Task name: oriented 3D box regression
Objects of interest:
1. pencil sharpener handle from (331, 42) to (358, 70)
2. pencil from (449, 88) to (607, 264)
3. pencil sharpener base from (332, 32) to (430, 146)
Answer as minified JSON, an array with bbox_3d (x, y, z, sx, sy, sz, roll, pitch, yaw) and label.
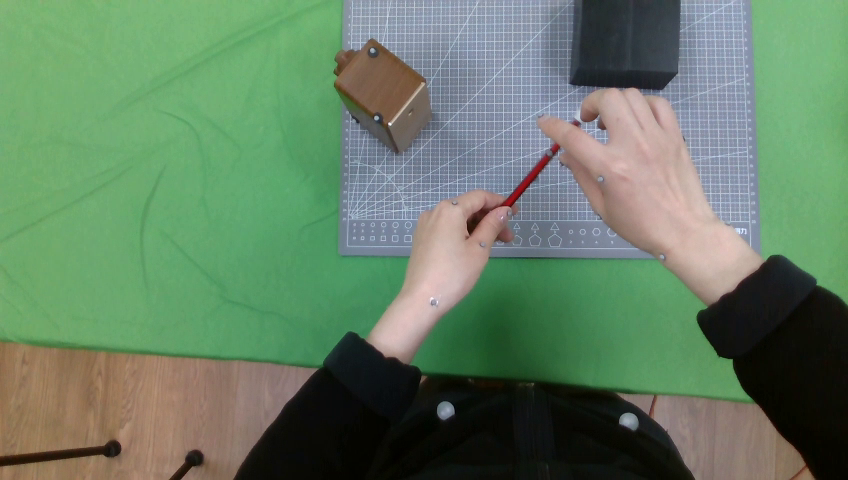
[{"bbox_3d":[-0.083,-0.183,0.611,0.030,0.068,0.036,39,81,6],"label":"pencil sharpener handle"},{"bbox_3d":[0.084,-0.050,0.514,0.012,0.012,0.194,42,103,6],"label":"pencil"},{"bbox_3d":[-0.042,-0.152,0.619,0.076,0.107,0.061,39,88,6],"label":"pencil sharpener base"}]
